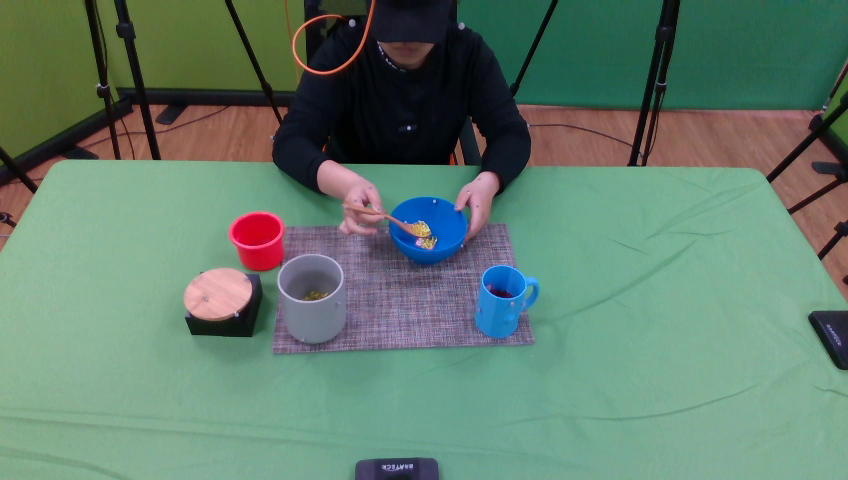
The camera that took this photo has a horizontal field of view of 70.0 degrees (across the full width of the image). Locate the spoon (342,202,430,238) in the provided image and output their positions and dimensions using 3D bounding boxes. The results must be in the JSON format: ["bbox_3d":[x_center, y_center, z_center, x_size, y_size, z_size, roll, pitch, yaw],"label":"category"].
[{"bbox_3d":[-0.067,-0.039,1.109,0.195,0.021,0.041,23,27,-36],"label":"spoon"}]

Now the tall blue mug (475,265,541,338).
[{"bbox_3d":[0.142,0.099,1.047,0.077,0.108,0.107,33,53,27],"label":"tall blue mug"}]

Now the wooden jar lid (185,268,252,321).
[{"bbox_3d":[-0.343,0.093,1.015,0.108,0.021,0.107,3,46,-3],"label":"wooden jar lid"}]

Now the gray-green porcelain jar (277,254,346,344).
[{"bbox_3d":[-0.184,0.102,1.008,0.106,0.127,0.105,2,46,-2],"label":"gray-green porcelain jar"}]

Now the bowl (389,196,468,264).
[{"bbox_3d":[0.006,-0.006,1.161,0.151,0.077,0.150,2,46,-2],"label":"bowl"}]
